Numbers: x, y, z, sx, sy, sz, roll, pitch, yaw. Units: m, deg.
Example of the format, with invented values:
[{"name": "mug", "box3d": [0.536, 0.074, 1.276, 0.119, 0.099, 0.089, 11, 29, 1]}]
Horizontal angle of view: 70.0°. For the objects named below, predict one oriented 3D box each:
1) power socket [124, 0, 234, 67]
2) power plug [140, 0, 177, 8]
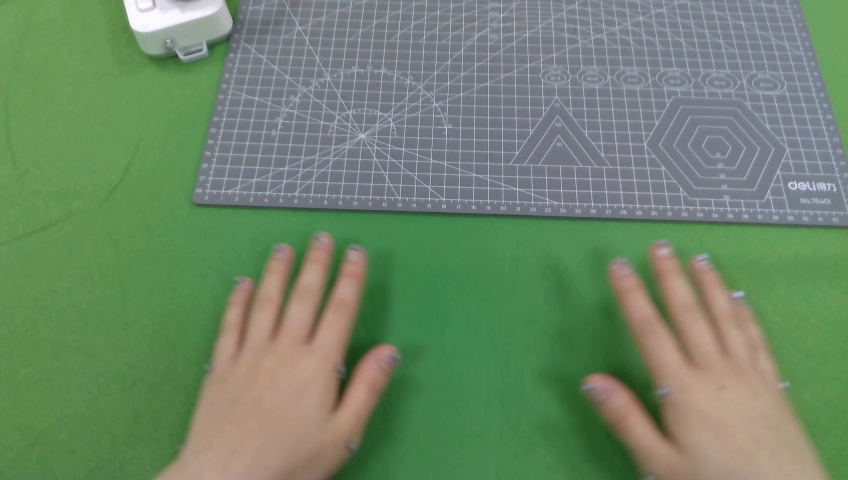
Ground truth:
[{"name": "power socket", "box3d": [-0.215, -0.235, 0.495, 0.072, 0.033, 0.224, -19, 66, -10]}, {"name": "power plug", "box3d": [-0.198, -0.199, 0.453, 0.072, 0.035, 0.052, 2, 68, 26]}]
